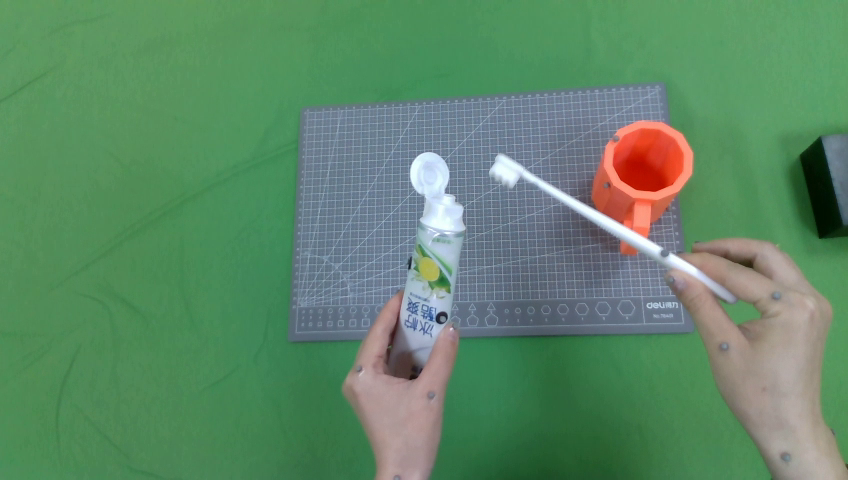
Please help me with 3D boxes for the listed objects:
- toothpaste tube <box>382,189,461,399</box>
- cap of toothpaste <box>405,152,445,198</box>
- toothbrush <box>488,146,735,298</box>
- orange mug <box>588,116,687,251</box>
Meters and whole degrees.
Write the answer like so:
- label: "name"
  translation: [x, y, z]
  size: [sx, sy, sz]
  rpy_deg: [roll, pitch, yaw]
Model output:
- label: "toothpaste tube"
  translation: [-0.001, 0.041, 0.465]
  size: [0.054, 0.034, 0.165]
  rpy_deg: [20, 109, 31]
- label: "cap of toothpaste"
  translation: [0.002, -0.049, 0.456]
  size: [0.037, 0.011, 0.037]
  rpy_deg: [0, 90, -33]
- label: "toothbrush"
  translation: [0.121, -0.012, 0.403]
  size: [0.181, 0.014, 0.016]
  rpy_deg: [32, 75, 12]
- label: "orange mug"
  translation: [0.223, -0.056, 0.646]
  size: [0.083, 0.101, 0.125]
  rpy_deg: [6, 71, 9]
